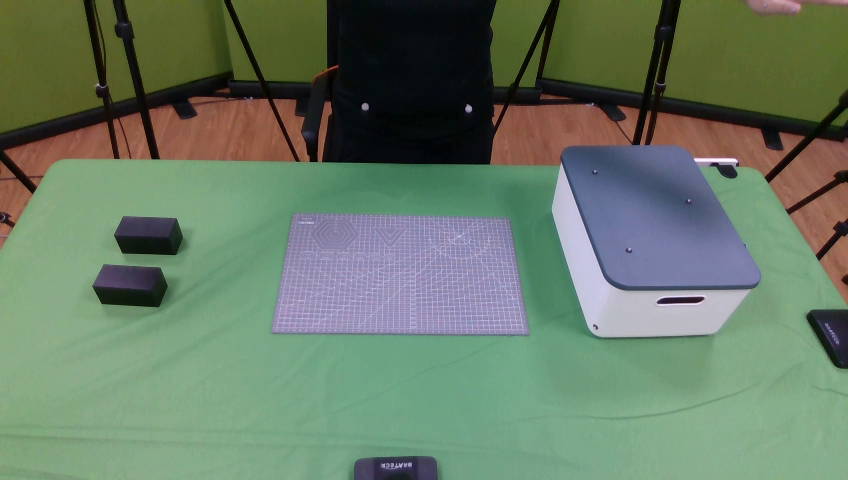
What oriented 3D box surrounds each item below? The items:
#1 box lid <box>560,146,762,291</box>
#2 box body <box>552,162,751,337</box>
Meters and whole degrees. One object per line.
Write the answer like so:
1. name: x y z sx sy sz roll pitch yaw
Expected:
1. box lid: 0.404 -0.052 1.076 0.263 0.015 0.369 -1 45 -5
2. box body: 0.401 -0.001 1.131 0.254 0.161 0.361 -1 46 -5
